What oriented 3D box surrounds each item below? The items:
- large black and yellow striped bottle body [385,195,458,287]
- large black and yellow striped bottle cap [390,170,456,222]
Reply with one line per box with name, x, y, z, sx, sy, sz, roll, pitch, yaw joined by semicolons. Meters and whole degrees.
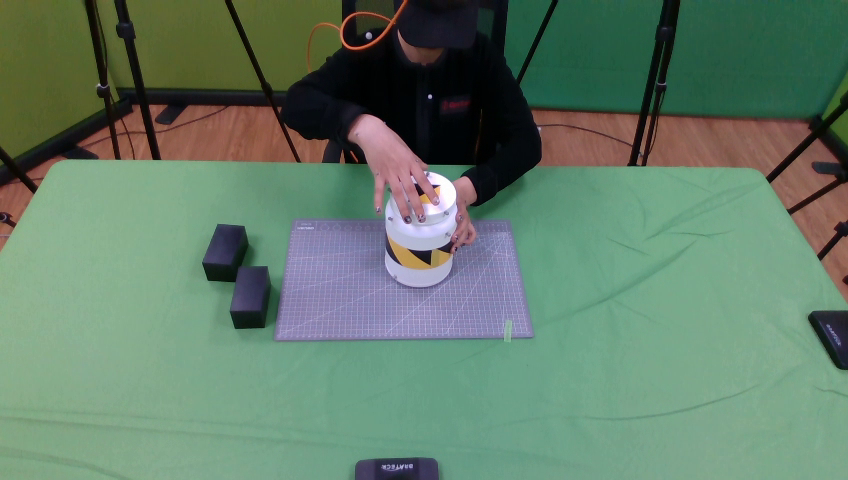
large black and yellow striped bottle body;-0.007;-0.018;1.097;0.131;0.185;0.130;2;46;-2
large black and yellow striped bottle cap;-0.001;-0.077;1.037;0.115;0.019;0.114;2;48;-2
